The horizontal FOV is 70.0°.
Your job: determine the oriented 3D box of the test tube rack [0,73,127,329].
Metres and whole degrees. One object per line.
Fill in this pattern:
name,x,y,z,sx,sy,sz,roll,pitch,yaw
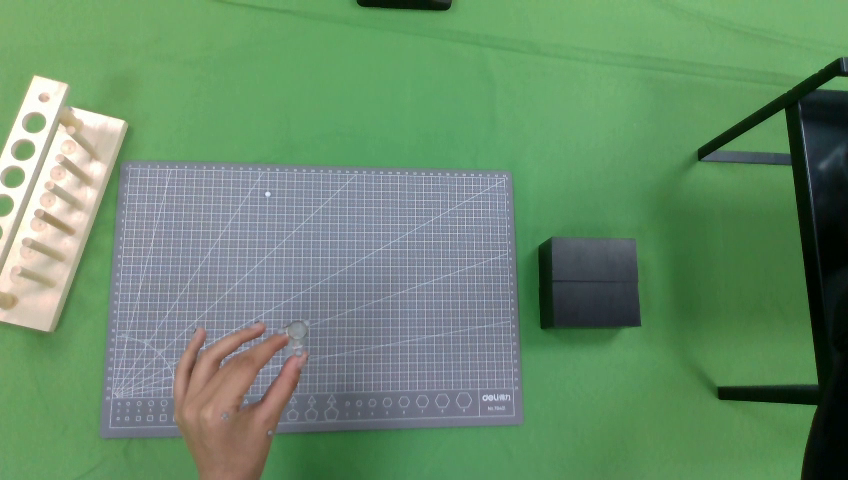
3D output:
test tube rack,-0.392,-0.037,0.621,0.067,0.085,0.241,15,78,-5

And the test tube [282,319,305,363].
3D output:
test tube,-0.114,0.090,0.526,0.017,0.150,0.017,4,71,-12
